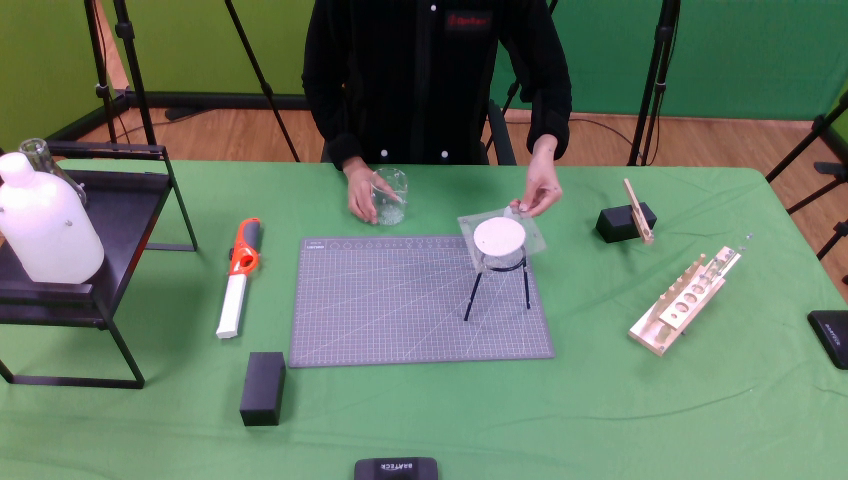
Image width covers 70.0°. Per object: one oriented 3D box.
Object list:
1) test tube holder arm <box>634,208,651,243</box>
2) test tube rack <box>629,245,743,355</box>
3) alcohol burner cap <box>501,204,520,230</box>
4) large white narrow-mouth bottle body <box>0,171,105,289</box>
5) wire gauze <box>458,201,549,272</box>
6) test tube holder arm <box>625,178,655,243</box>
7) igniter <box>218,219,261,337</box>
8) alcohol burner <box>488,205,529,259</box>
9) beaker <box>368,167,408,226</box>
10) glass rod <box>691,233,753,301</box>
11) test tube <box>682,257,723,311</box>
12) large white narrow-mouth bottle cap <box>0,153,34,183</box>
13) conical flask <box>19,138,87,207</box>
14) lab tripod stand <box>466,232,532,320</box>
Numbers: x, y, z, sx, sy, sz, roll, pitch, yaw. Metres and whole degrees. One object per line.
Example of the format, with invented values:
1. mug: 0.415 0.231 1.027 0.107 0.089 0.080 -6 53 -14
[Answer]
1. test tube holder arm: 0.428 -0.030 1.189 0.010 0.015 0.087 2 47 -3
2. test tube rack: 0.474 0.095 1.091 0.242 0.085 0.066 -34 56 -31
3. alcohol burner cap: 0.164 -0.046 1.133 0.034 0.048 0.033 2 40 -2
4. large white narrow-mouth bottle body: -0.513 -0.029 0.818 0.102 0.195 0.101 2 46 -2
5. wire gauze: 0.128 -0.011 0.993 0.121 0.011 0.124 -15 47 -2
6. test tube holder arm: 0.433 -0.062 1.220 0.013 0.015 0.177 2 47 -3
7. igniter: -0.336 0.059 1.111 0.057 0.025 0.274 -8 46 3
8. alcohol burner: 0.163 -0.020 1.158 0.078 0.120 0.077 0 47 0
9. beaker: -0.069 -0.084 1.219 0.083 0.101 0.074 28 51 21
10. glass rod: 0.508 0.053 1.041 0.008 0.200 0.008 5 50 -6
11. test tube: 0.475 0.080 1.037 0.017 0.151 0.017 1 51 -1
12. large white narrow-mouth bottle cap: -0.510 -0.090 0.755 0.038 0.024 0.037 2 46 -2
13. conical flask: -0.576 -0.097 0.930 0.075 0.122 0.075 2 46 -2
14. lab tripod stand: 0.125 0.059 1.065 0.148 0.132 0.147 1 45 0
